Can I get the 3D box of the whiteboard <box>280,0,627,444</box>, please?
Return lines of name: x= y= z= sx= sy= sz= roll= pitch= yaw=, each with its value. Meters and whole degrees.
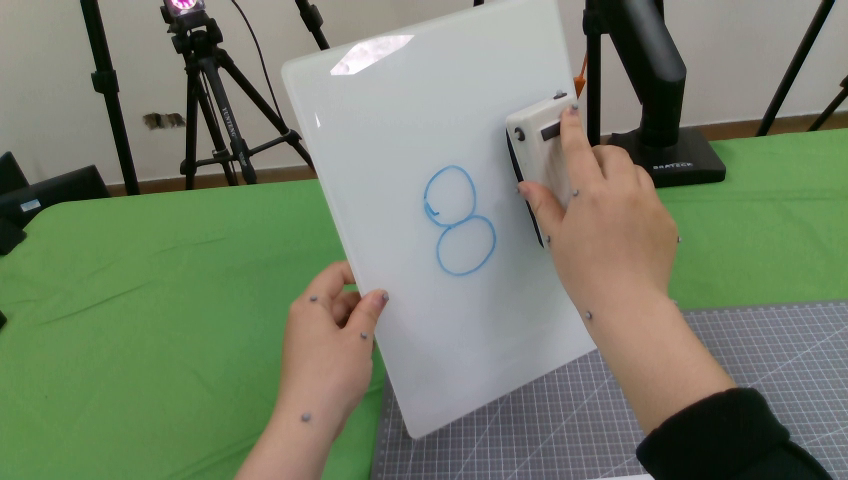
whiteboard: x=0.021 y=-0.028 z=0.529 sx=0.217 sy=0.307 sz=0.143 roll=-22 pitch=18 yaw=-15

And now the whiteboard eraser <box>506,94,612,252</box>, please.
whiteboard eraser: x=0.102 y=-0.050 z=0.463 sx=0.055 sy=0.113 sz=0.041 roll=-25 pitch=17 yaw=-18
